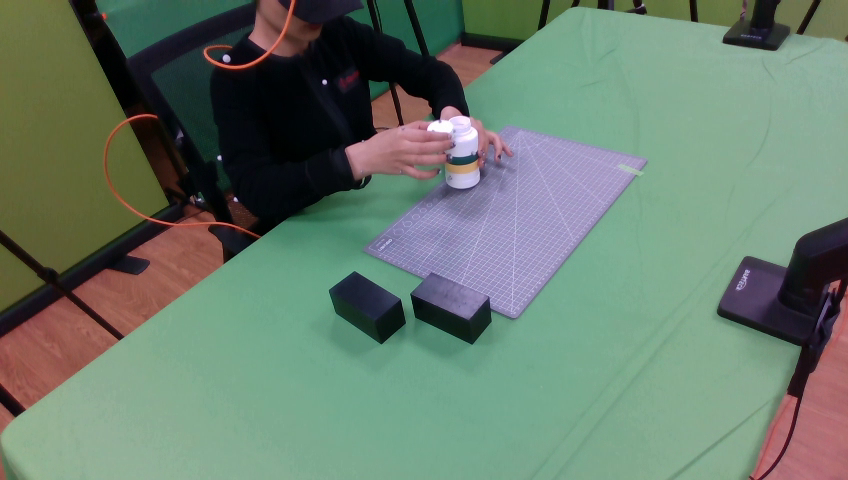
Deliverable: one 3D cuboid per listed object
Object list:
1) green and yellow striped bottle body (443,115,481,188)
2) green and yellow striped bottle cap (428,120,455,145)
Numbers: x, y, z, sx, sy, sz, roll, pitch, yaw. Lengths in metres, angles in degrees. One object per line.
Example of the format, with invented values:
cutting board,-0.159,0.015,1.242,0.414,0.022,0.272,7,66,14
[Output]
green and yellow striped bottle body,0.066,-0.157,1.064,0.063,0.120,0.063,-4,37,3
green and yellow striped bottle cap,0.029,-0.177,0.993,0.045,0.020,0.045,-7,46,8
